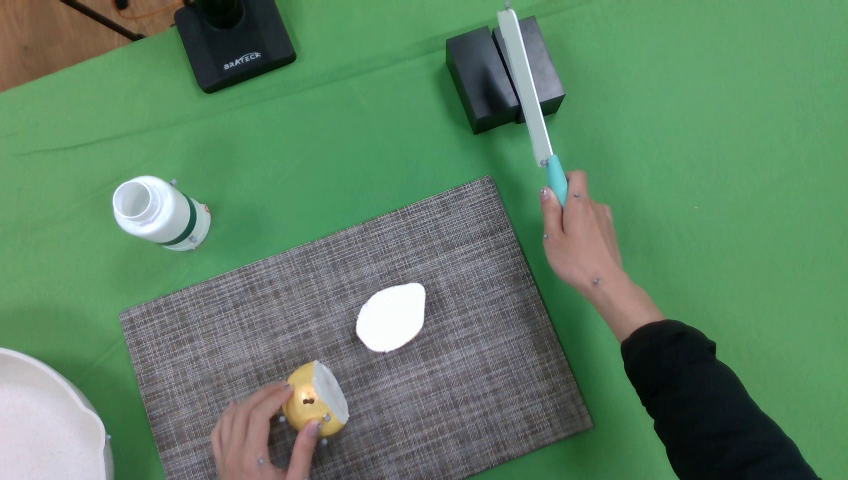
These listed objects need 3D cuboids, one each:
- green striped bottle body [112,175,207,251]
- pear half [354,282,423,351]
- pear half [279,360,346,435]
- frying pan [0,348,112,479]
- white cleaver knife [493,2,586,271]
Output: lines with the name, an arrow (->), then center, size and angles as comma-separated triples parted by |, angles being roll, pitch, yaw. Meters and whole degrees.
green striped bottle body -> -0.282, -0.029, 0.642 | 0.063, 0.119, 0.063 | 0, 79, 1
pear half -> -0.034, 0.085, 0.660 | 0.070, 0.031, 0.088 | 39, 70, 23
pear half -> -0.120, 0.164, 0.610 | 0.056, 0.110, 0.076 | -34, 77, -4
frying pan -> -0.413, 0.344, 0.589 | 0.307, 0.103, 0.484 | -25, 73, -3
white cleaver knife -> 0.121, -0.102, 0.633 | 0.021, 0.065, 0.287 | -18, 102, -2
